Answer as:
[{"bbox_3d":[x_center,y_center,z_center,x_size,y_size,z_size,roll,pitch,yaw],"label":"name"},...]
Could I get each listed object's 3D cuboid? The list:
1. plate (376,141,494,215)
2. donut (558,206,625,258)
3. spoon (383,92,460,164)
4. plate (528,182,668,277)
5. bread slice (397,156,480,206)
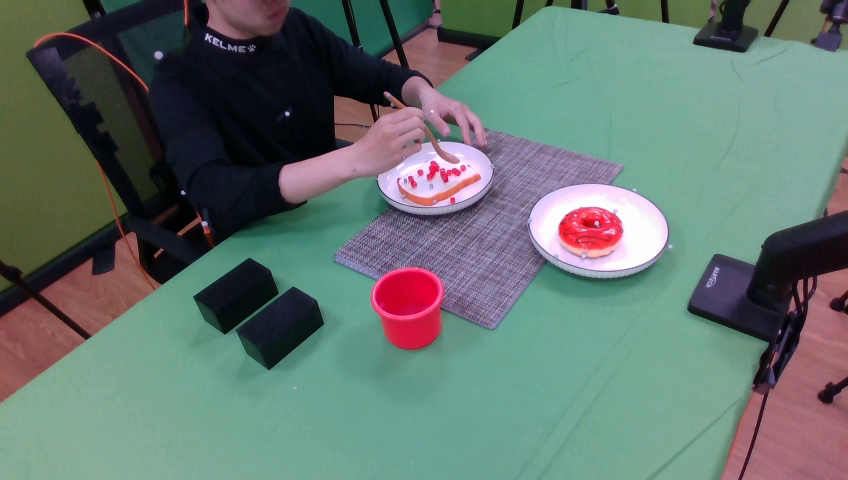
[{"bbox_3d":[0.021,-0.106,1.073,0.209,0.038,0.208,-4,40,4],"label":"plate"},{"bbox_3d":[0.254,-0.015,0.917,0.099,0.048,0.098,-5,41,5],"label":"donut"},{"bbox_3d":[-0.002,-0.182,0.986,0.021,0.195,0.041,-41,41,8],"label":"spoon"},{"bbox_3d":[0.264,-0.014,0.933,0.207,0.039,0.206,-3,42,3],"label":"plate"},{"bbox_3d":[0.020,-0.106,1.078,0.132,0.019,0.104,-31,46,-29],"label":"bread slice"}]
